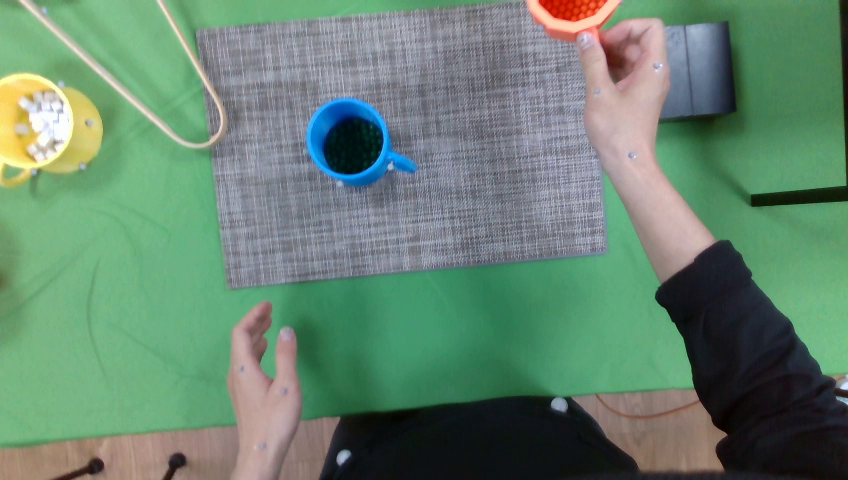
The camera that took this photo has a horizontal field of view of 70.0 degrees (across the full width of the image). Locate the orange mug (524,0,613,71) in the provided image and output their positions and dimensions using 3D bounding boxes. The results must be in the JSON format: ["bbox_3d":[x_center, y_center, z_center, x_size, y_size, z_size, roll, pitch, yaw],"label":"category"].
[{"bbox_3d":[0.139,-0.219,0.559,0.083,0.101,0.126,-17,95,16],"label":"orange mug"}]

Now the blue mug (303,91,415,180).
[{"bbox_3d":[-0.064,-0.104,0.655,0.116,0.105,0.082,20,92,-3],"label":"blue mug"}]

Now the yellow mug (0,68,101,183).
[{"bbox_3d":[-0.430,-0.118,0.665,0.100,0.064,0.131,33,93,-4],"label":"yellow mug"}]

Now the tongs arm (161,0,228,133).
[{"bbox_3d":[-0.316,-0.296,0.657,0.028,0.027,0.389,-31,101,-8],"label":"tongs arm"}]

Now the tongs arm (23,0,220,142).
[{"bbox_3d":[-0.382,-0.243,0.654,0.051,0.026,0.386,-44,101,-2],"label":"tongs arm"}]
